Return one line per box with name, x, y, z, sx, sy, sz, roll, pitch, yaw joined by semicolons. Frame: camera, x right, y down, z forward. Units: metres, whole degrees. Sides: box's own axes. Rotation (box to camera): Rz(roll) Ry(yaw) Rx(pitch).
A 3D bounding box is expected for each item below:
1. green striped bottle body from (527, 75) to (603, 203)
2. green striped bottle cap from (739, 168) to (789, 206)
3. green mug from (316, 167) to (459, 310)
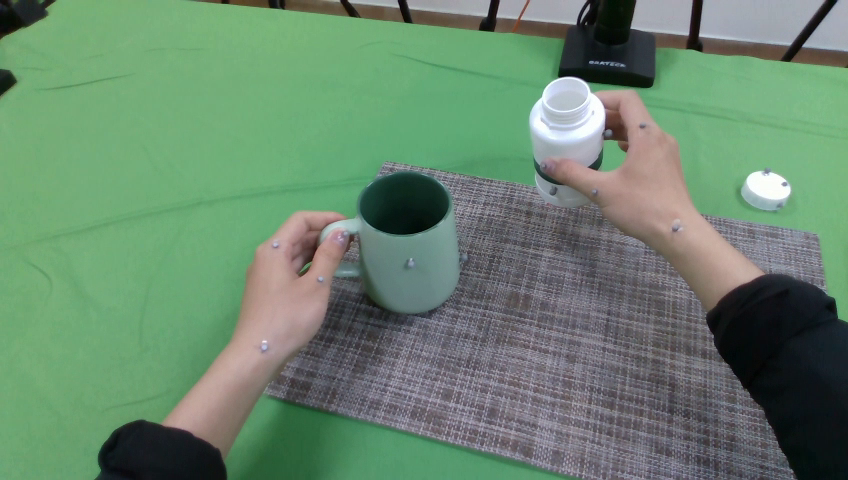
green striped bottle body;0.125;-0.090;0.536;0.063;0.120;0.062;-6;59;10
green striped bottle cap;0.353;-0.055;0.628;0.044;0.020;0.044;0;45;0
green mug;-0.032;0.004;0.529;0.125;0.106;0.091;-10;49;-5
